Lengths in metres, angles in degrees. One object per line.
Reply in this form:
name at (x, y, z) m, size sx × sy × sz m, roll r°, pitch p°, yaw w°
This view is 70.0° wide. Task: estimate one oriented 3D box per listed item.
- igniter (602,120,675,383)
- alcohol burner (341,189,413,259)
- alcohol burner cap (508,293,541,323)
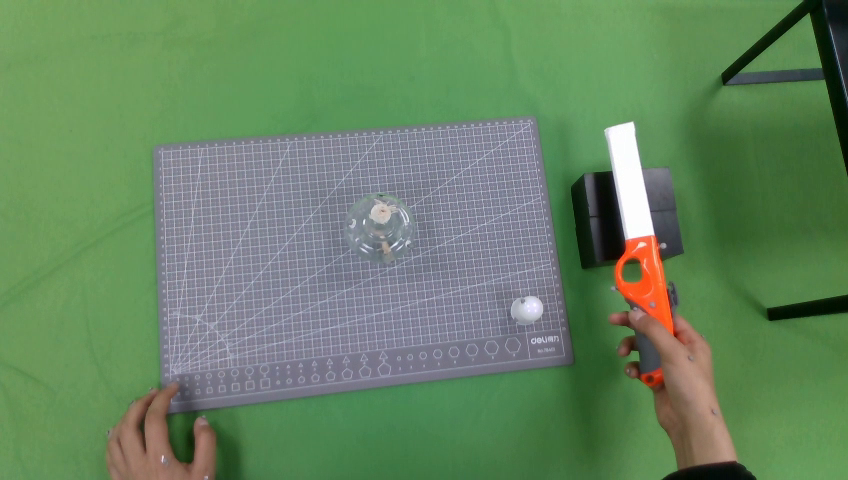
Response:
igniter at (0.222, 0.007, 0.632) m, size 0.057 × 0.025 × 0.275 m, roll -10°, pitch 75°, yaw 21°
alcohol burner at (-0.049, -0.021, 0.641) m, size 0.078 × 0.119 × 0.077 m, roll 1°, pitch 79°, yaw -6°
alcohol burner cap at (0.113, 0.074, 0.673) m, size 0.034 × 0.048 × 0.033 m, roll 1°, pitch 78°, yaw -4°
